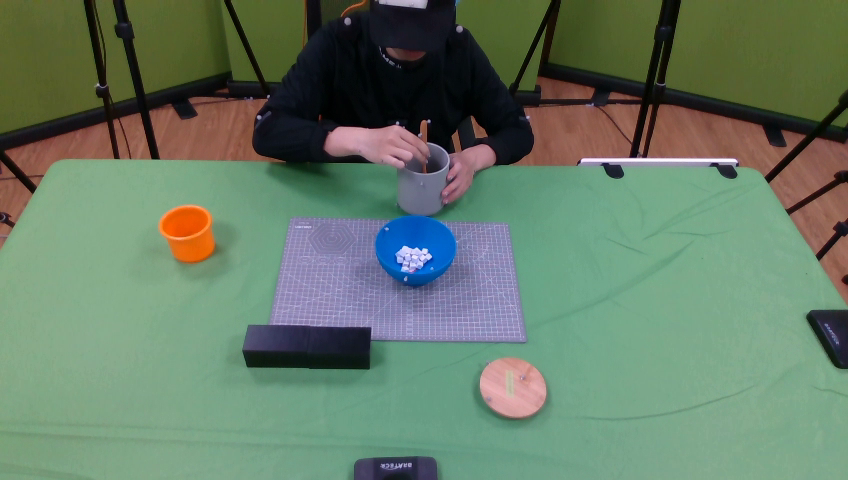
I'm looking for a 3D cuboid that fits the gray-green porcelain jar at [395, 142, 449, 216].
[{"bbox_3d":[-0.007,-0.120,1.241,0.106,0.127,0.105,2,46,-2],"label":"gray-green porcelain jar"}]

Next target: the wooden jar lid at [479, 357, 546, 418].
[{"bbox_3d":[0.142,0.240,0.979,0.108,0.021,0.107,1,46,-1],"label":"wooden jar lid"}]

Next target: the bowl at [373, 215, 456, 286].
[{"bbox_3d":[-0.019,0.032,1.122,0.151,0.077,0.150,2,46,-2],"label":"bowl"}]

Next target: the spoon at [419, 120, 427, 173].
[{"bbox_3d":[-0.002,-0.150,1.187,0.041,0.195,0.021,-1,39,1],"label":"spoon"}]
